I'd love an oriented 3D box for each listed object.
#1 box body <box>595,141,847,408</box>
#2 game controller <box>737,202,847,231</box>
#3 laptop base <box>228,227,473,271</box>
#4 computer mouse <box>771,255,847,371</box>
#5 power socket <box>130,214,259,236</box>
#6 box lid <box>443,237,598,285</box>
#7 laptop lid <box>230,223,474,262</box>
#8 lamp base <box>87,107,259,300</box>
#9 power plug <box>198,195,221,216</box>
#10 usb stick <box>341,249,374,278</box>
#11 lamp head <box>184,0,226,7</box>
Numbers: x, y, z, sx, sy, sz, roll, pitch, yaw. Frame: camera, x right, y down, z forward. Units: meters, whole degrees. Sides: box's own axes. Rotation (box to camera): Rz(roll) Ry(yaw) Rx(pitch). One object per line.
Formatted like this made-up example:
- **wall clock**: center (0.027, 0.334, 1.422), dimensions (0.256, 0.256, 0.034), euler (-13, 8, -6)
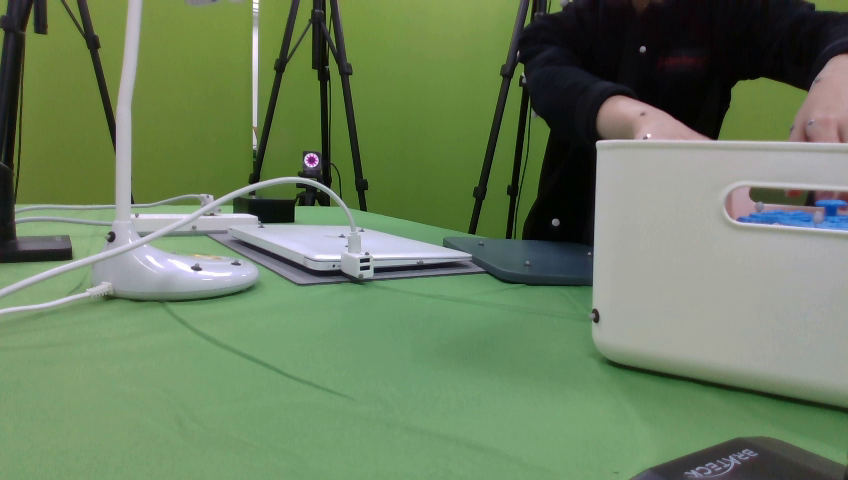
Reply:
- **box body**: center (0.309, 0.007, 0.510), dimensions (0.253, 0.160, 0.366), euler (6, 8, 29)
- **game controller**: center (0.292, 0.000, 0.426), dimensions (0.097, 0.051, 0.155), euler (0, 7, 4)
- **laptop base**: center (-0.124, 0.011, 0.889), dimensions (0.237, 0.023, 0.352), euler (2, 6, -35)
- **computer mouse**: center (0.345, 0.057, 0.519), dimensions (0.063, 0.041, 0.117), euler (11, 47, 4)
- **power socket**: center (-0.397, -0.028, 1.048), dimensions (0.228, 0.032, 0.072), euler (-3, 7, -35)
- **box lid**: center (0.191, 0.028, 0.903), dimensions (0.264, 0.015, 0.370), euler (2, 7, -12)
- **laptop lid**: center (-0.121, 0.000, 0.888), dimensions (0.243, 0.013, 0.355), euler (1, 7, -33)
- **lamp base**: center (-0.254, -0.039, 0.603), dimensions (0.160, 0.180, 0.179), euler (5, 10, 18)
- **power plug**: center (-0.386, -0.055, 1.088), dimensions (0.035, 0.052, 0.072), euler (-1, 6, -24)
- **usb stick**: center (-0.078, 0.026, 0.686), dimensions (0.021, 0.027, 0.059), euler (-8, 8, -30)
- **lamp head**: center (-0.229, -0.320, 0.627), dimensions (0.112, 0.112, 0.123), euler (6, -35, 26)
